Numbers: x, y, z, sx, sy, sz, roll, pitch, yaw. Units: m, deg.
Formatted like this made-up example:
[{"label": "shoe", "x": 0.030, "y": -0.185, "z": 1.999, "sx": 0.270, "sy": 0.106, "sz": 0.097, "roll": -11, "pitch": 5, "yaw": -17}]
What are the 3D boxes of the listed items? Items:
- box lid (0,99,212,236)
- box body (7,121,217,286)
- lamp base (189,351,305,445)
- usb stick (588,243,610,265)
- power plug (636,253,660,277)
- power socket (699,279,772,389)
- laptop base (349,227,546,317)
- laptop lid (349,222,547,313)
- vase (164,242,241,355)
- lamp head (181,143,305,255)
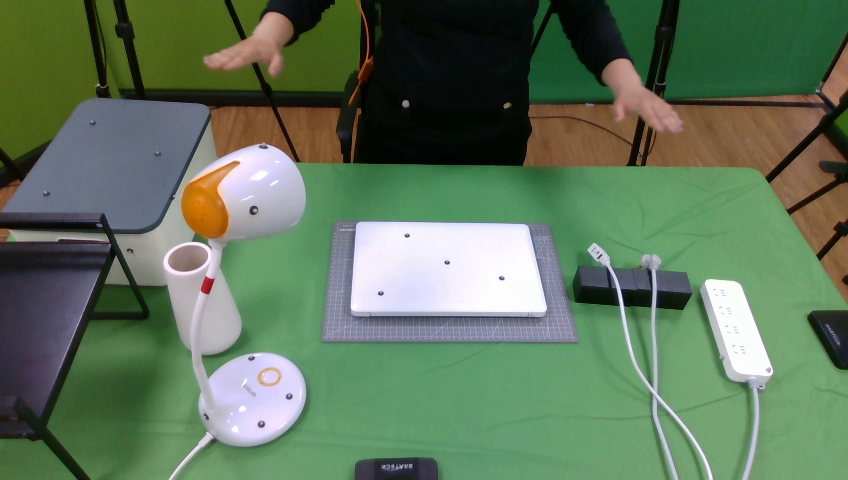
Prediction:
[{"label": "box lid", "x": -0.556, "y": -0.143, "z": 1.090, "sx": 0.263, "sy": 0.015, "sz": 0.369, "roll": 2, "pitch": 46, "yaw": -1}, {"label": "box body", "x": -0.560, "y": -0.092, "z": 1.145, "sx": 0.254, "sy": 0.161, "sz": 0.361, "roll": 3, "pitch": 46, "yaw": -2}, {"label": "lamp base", "x": -0.268, "y": 0.196, "z": 0.876, "sx": 0.160, "sy": 0.181, "sz": 0.179, "roll": 26, "pitch": 52, "yaw": 20}, {"label": "usb stick", "x": 0.336, "y": 0.024, "z": 1.172, "sx": 0.027, "sy": 0.021, "sz": 0.059, "roll": 34, "pitch": 16, "yaw": -13}, {"label": "power plug", "x": 0.415, "y": 0.050, "z": 1.139, "sx": 0.035, "sy": 0.053, "sz": 0.072, "roll": 45, "pitch": 49, "yaw": 10}, {"label": "power socket", "x": 0.551, "y": 0.157, "z": 1.081, "sx": 0.072, "sy": 0.033, "sz": 0.225, "roll": 5, "pitch": 46, "yaw": 1}, {"label": "laptop base", "x": 0.040, "y": 0.055, "z": 1.149, "sx": 0.355, "sy": 0.023, "sz": 0.234, "roll": 1, "pitch": 43, "yaw": -4}, {"label": "laptop lid", "x": 0.041, "y": 0.045, "z": 1.143, "sx": 0.357, "sy": 0.013, "sz": 0.240, "roll": 2, "pitch": 44, "yaw": -3}, {"label": "vase", "x": -0.349, "y": 0.096, "z": 0.954, "sx": 0.098, "sy": 0.201, "sz": 0.097, "roll": 3, "pitch": 47, "yaw": -3}, {"label": "lamp head", "x": -0.216, "y": -0.044, "z": 0.697, "sx": 0.112, "sy": 0.113, "sz": 0.123, "roll": 23, "pitch": 31, "yaw": 17}]
